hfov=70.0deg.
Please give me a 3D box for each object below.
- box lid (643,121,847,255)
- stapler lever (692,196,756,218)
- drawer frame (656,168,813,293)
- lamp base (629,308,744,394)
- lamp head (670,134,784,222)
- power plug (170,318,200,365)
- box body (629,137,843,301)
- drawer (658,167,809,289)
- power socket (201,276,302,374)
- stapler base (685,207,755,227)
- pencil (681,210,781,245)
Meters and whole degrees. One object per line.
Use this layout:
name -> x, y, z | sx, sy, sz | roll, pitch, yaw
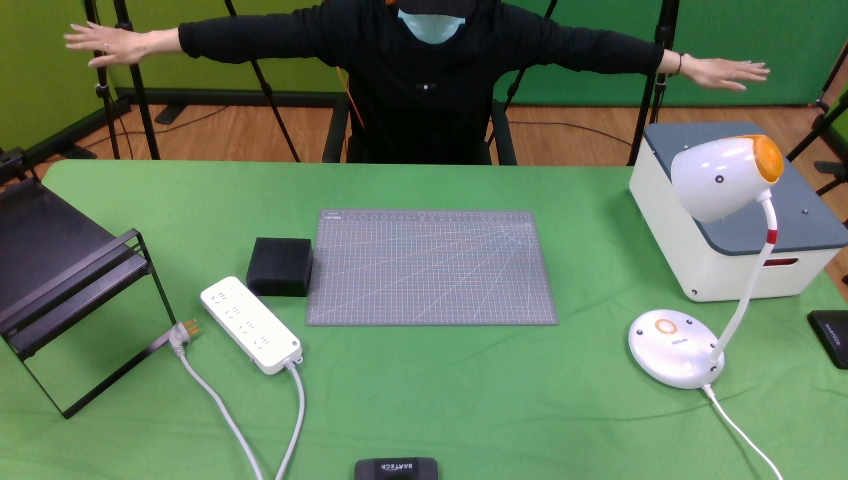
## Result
box lid -> 0.596, -0.115, 1.150 | 0.263, 0.015, 0.369 | -3, 46, -7
stapler lever -> 0.588, -0.065, 1.185 | 0.118, 0.040, 0.026 | 2, 58, 12
drawer frame -> 0.583, -0.022, 1.161 | 0.202, 0.083, 0.212 | -11, 54, 2
lamp base -> 0.446, 0.139, 0.987 | 0.161, 0.181, 0.178 | -18, 53, -20
lamp head -> 0.422, -0.089, 0.829 | 0.113, 0.123, 0.112 | 8, 74, -32
power plug -> -0.392, 0.167, 1.013 | 0.052, 0.035, 0.072 | -31, 89, -23
box body -> 0.593, -0.062, 1.202 | 0.254, 0.161, 0.361 | -4, 47, -7
drawer -> 0.584, -0.024, 1.164 | 0.194, 0.073, 0.210 | -11, 55, 2
power socket -> -0.297, 0.141, 1.034 | 0.072, 0.033, 0.225 | -34, 58, -30
stapler base -> 0.590, -0.051, 1.205 | 0.130, 0.024, 0.041 | 3, 58, 11
pencil -> 0.599, -0.027, 1.186 | 0.194, 0.012, 0.012 | 19, 48, 10
